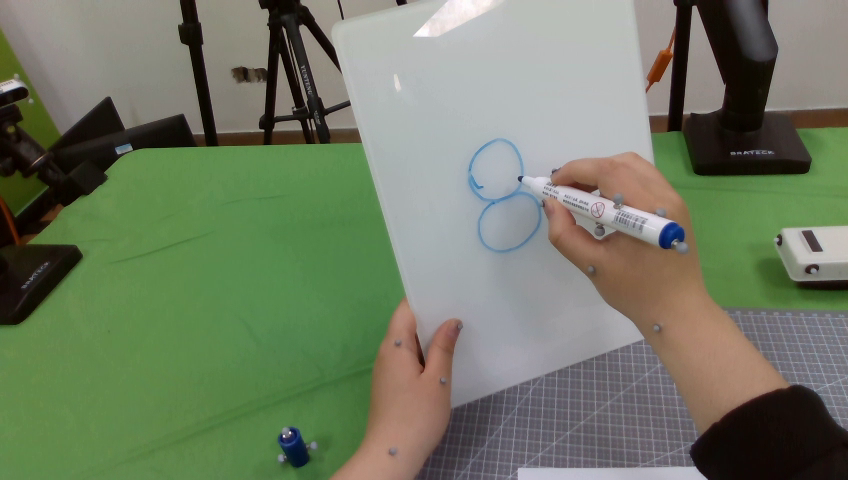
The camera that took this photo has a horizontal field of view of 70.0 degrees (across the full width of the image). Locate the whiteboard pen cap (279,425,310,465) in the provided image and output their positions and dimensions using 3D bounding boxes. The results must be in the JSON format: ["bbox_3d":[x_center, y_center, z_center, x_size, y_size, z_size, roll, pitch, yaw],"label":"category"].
[{"bbox_3d":[-0.099,0.158,0.466,0.018,0.033,0.018,-6,39,5],"label":"whiteboard pen cap"}]

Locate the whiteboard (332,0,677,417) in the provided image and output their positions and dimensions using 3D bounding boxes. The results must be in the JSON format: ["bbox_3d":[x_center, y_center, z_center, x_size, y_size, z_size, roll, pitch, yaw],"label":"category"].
[{"bbox_3d":[0.064,-0.048,0.516,0.217,0.307,0.143,-17,18,-8],"label":"whiteboard"}]

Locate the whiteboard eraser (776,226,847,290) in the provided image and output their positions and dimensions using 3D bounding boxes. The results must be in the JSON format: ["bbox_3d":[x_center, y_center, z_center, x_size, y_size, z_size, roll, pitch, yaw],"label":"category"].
[{"bbox_3d":[0.376,0.015,0.530,0.112,0.042,0.055,-1,41,11],"label":"whiteboard eraser"}]

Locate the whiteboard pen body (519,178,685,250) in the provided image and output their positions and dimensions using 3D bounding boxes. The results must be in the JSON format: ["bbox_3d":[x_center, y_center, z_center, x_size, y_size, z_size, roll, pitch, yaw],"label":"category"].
[{"bbox_3d":[0.102,-0.022,0.378,0.017,0.017,0.139,-26,29,-19],"label":"whiteboard pen body"}]
